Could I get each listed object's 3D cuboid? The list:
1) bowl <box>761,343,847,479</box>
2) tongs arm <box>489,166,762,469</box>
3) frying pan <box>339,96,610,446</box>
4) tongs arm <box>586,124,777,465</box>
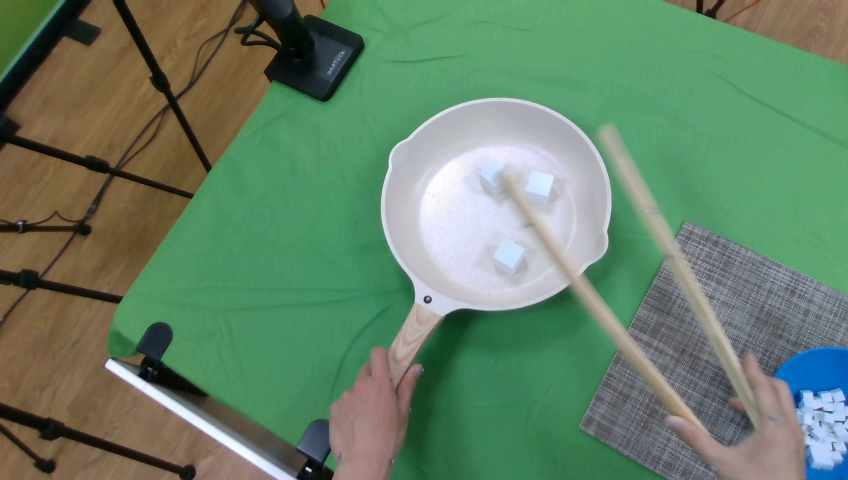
[{"bbox_3d":[0.438,0.193,0.660,0.151,0.077,0.150,-2,72,7],"label":"bowl"},{"bbox_3d":[0.188,0.071,0.615,0.028,0.028,0.385,-30,73,-23],"label":"tongs arm"},{"bbox_3d":[0.036,0.035,0.759,0.305,0.103,0.486,28,69,17],"label":"frying pan"},{"bbox_3d":[0.252,0.042,0.634,0.051,0.026,0.382,-21,71,-16],"label":"tongs arm"}]
